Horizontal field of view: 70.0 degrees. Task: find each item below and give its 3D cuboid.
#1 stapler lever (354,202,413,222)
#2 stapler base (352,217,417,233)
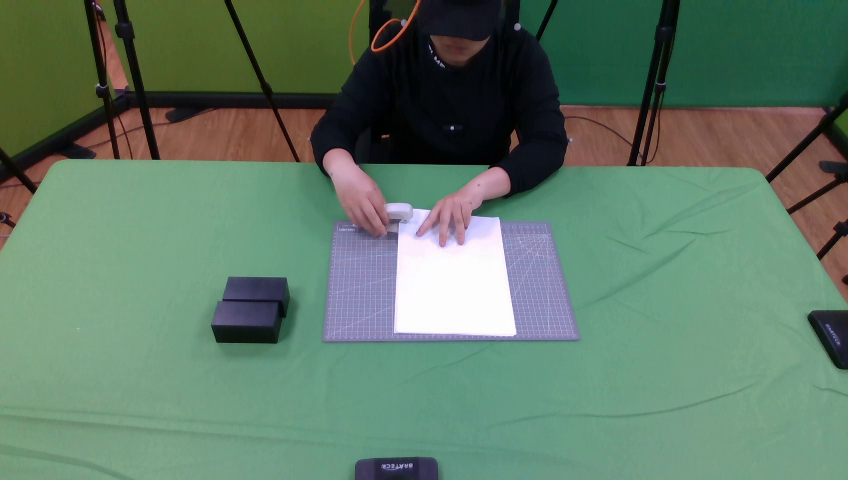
[{"bbox_3d":[-0.080,-0.059,1.208,0.118,0.040,0.026,6,43,4],"label":"stapler lever"},{"bbox_3d":[-0.079,-0.041,1.226,0.130,0.024,0.041,6,43,4],"label":"stapler base"}]
